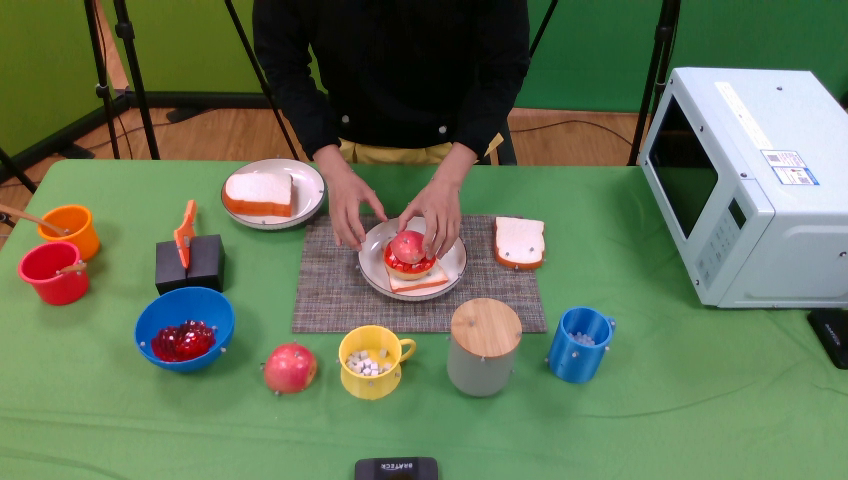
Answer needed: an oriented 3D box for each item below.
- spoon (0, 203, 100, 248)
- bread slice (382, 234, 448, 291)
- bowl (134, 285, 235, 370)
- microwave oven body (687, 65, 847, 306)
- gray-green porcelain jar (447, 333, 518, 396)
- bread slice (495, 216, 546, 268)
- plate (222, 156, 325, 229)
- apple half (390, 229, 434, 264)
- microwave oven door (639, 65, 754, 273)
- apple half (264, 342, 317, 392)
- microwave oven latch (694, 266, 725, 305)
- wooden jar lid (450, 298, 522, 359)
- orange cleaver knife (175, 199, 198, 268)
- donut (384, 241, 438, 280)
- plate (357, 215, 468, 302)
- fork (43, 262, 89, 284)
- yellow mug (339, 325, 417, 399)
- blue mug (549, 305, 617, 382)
[{"bbox_3d":[-0.683,-0.031,1.088,0.195,0.021,0.041,33,33,-38],"label":"spoon"},{"bbox_3d":[-0.027,0.038,1.140,0.107,0.018,0.133,-11,47,-15],"label":"bread slice"},{"bbox_3d":[-0.377,0.155,0.981,0.151,0.077,0.150,2,46,-2],"label":"bowl"},{"bbox_3d":[0.669,-0.111,1.176,0.326,0.261,0.439,0,46,-3],"label":"microwave oven body"},{"bbox_3d":[0.091,0.178,0.960,0.106,0.127,0.105,2,46,-2],"label":"gray-green porcelain jar"},{"bbox_3d":[0.194,0.002,1.204,0.105,0.019,0.131,6,45,2],"label":"bread slice"},{"bbox_3d":[-0.308,-0.095,1.251,0.209,0.038,0.208,3,46,-2],"label":"plate"},{"bbox_3d":[-0.022,0.002,1.081,0.081,0.033,0.081,5,44,-4],"label":"apple half"},{"bbox_3d":[0.522,-0.147,1.192,0.039,0.245,0.353,0,47,-3],"label":"microwave oven door"},{"bbox_3d":[-0.214,0.198,0.970,0.074,0.053,0.080,19,48,10],"label":"apple half"},{"bbox_3d":[0.523,0.082,1.115,0.030,0.029,0.078,3,46,0],"label":"microwave oven latch"},{"bbox_3d":[0.093,0.135,0.914,0.108,0.021,0.107,3,48,-3],"label":"wooden jar lid"},{"bbox_3d":[-0.438,-0.017,1.138,0.012,0.077,0.210,-14,27,-7],"label":"orange cleaver knife"},{"bbox_3d":[-0.025,0.029,1.110,0.099,0.048,0.098,2,47,-2],"label":"donut"},{"bbox_3d":[-0.022,0.037,1.141,0.208,0.039,0.206,2,46,-2],"label":"plate"},{"bbox_3d":[-0.599,0.053,1.013,0.207,0.019,0.028,-14,30,45],"label":"fork"},{"bbox_3d":[-0.072,0.190,0.978,0.131,0.064,0.099,-17,50,-20],"label":"yellow mug"},{"bbox_3d":[0.269,0.166,0.998,0.116,0.106,0.082,-19,51,-21],"label":"blue mug"}]
